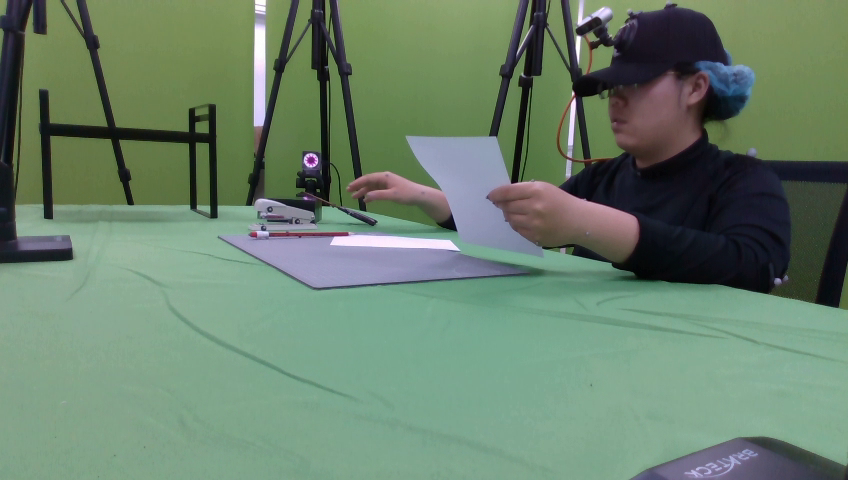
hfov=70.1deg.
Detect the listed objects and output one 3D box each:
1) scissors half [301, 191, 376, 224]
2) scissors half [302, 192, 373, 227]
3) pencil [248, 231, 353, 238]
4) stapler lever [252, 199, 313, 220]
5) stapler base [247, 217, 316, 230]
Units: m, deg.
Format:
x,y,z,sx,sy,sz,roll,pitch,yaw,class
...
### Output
x,y,z,sx,sy,sz,roll,pitch,yaw,class
-0.189,-0.073,1.334,0.175,0.013,0.040,23,9,-10,scissors half
-0.191,-0.069,1.314,0.175,0.013,0.040,26,15,7,scissors half
-0.206,-0.009,1.040,0.195,0.012,0.012,0,8,-36,pencil
-0.273,-0.058,1.170,0.119,0.040,0.026,0,10,-37,stapler lever
-0.276,-0.033,1.172,0.131,0.024,0.041,0,10,-37,stapler base
